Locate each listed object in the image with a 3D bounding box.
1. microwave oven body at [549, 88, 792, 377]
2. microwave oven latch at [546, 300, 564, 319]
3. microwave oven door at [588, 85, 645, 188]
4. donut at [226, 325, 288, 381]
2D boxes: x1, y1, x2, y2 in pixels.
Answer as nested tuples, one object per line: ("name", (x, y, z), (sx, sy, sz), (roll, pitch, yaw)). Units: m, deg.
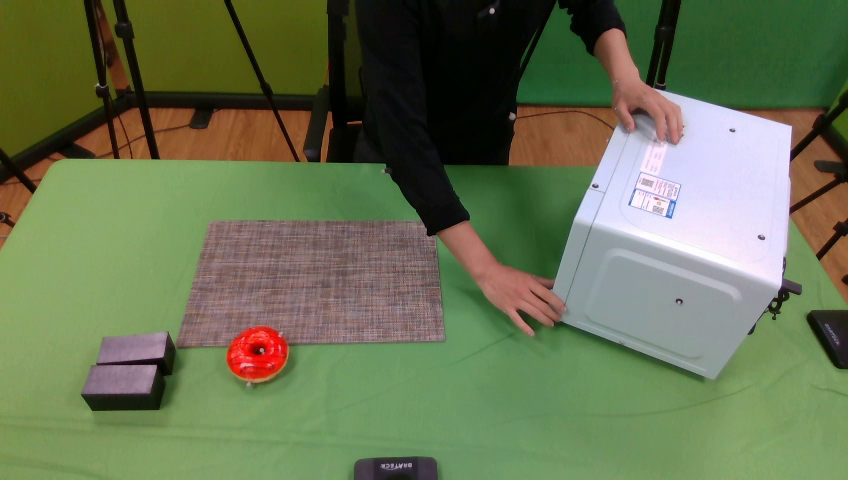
("microwave oven body", (0.456, -0.028, 1.088), (0.325, 0.261, 0.440), (20, 47, 16))
("microwave oven latch", (0.242, 0.102, 1.081), (0.030, 0.029, 0.079), (22, 48, 17))
("microwave oven door", (0.342, -0.107, 1.149), (0.039, 0.245, 0.354), (20, 48, 15))
("donut", (-0.270, 0.182, 0.984), (0.099, 0.048, 0.098), (5, 49, -5))
